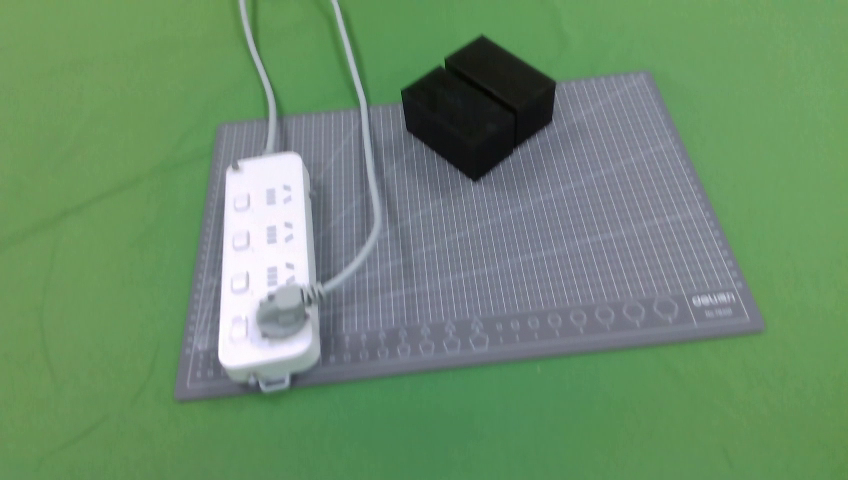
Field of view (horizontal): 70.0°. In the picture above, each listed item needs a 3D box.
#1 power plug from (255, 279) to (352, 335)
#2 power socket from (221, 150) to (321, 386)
[{"bbox_3d":[-0.090,0.055,0.454,0.072,0.053,0.035,3,54,1],"label":"power plug"},{"bbox_3d":[-0.128,0.011,0.510,0.072,0.033,0.224,-9,54,-2],"label":"power socket"}]
